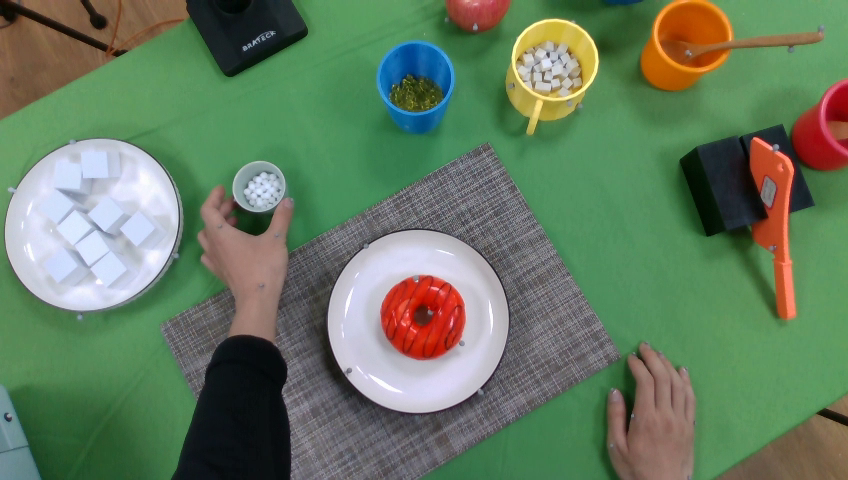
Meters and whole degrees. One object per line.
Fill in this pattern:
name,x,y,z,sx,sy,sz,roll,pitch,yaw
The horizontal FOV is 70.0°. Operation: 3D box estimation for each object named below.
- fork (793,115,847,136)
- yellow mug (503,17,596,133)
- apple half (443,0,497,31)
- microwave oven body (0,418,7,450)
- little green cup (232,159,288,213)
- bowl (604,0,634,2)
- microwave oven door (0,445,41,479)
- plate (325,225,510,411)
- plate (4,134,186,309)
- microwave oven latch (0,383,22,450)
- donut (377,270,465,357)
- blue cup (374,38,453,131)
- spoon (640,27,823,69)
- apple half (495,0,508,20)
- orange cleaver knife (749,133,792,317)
fork,0.522,-0.125,0.665,0.205,0.019,0.028,13,68,45
yellow mug,0.142,-0.190,0.721,0.100,0.064,0.130,18,83,3
apple half,0.050,-0.291,0.734,0.053,0.075,0.080,-24,85,0
microwave oven body,-0.530,0.400,0.543,0.326,0.261,0.440,-27,83,-4
little green cup,-0.192,-0.062,0.721,0.061,0.039,0.061,0,80,2
bowl,0.235,-0.349,0.736,0.151,0.077,0.151,0,82,1
microwave oven door,-0.380,0.372,0.539,0.039,0.244,0.354,-27,82,-4
plate,-0.007,0.087,0.693,0.209,0.038,0.208,0,82,1
plate,-0.382,-0.021,0.718,0.208,0.039,0.207,0,82,1
microwave oven latch,-0.477,0.194,0.669,0.030,0.029,0.079,-23,83,-3
donut,-0.003,0.083,0.682,0.099,0.048,0.098,0,82,2
blue cup,-0.011,-0.171,0.703,0.092,0.100,0.092,0,83,0
spoon,0.336,-0.220,0.681,0.022,0.192,0.041,25,80,-40
apple half,0.085,-0.308,0.734,0.033,0.081,0.081,-24,81,0
orange cleaver knife,0.390,-0.015,0.683,0.012,0.076,0.213,-15,111,1
